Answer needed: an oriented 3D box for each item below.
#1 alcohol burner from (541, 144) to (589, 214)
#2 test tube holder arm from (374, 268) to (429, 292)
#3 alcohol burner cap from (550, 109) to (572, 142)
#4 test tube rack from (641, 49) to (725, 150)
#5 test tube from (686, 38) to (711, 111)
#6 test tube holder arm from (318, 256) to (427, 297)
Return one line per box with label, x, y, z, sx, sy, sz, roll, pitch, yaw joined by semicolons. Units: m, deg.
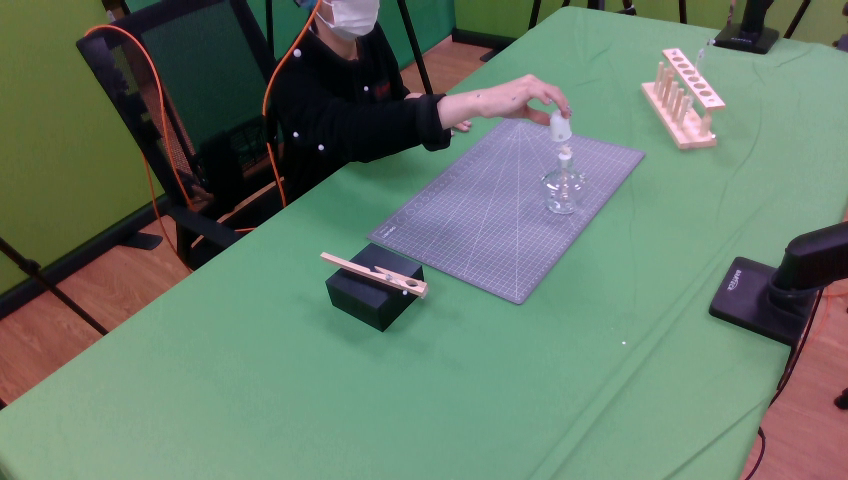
alcohol burner;0.229;-0.102;0.983;0.078;0.119;0.077;-6;41;5
test tube holder arm;-0.034;0.056;0.840;0.087;0.015;0.010;14;49;25
alcohol burner cap;0.206;-0.175;0.915;0.034;0.048;0.033;-10;46;11
test tube rack;0.495;-0.279;1.175;0.067;0.085;0.241;-5;41;3
test tube;0.508;-0.305;1.128;0.017;0.151;0.017;-2;46;3
test tube holder arm;-0.076;0.050;0.855;0.177;0.015;0.013;13;49;24
